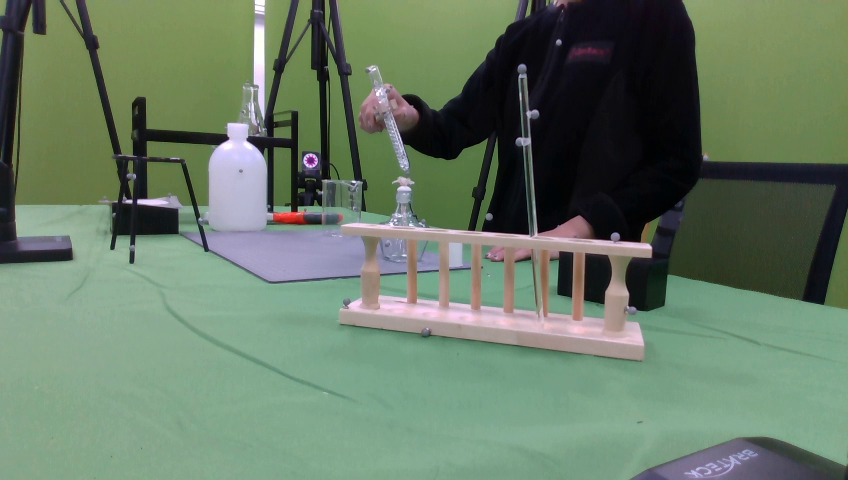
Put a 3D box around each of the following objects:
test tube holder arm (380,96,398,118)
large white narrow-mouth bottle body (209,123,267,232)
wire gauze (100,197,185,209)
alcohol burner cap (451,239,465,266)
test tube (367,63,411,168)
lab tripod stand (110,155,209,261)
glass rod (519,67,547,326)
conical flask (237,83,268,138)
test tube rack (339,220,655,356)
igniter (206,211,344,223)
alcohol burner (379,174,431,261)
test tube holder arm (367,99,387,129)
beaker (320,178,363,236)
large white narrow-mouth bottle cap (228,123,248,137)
[{"bbox_3d":[-0.054,-0.186,0.851,0.010,0.015,0.087,-18,6,-19],"label":"test tube holder arm"},{"bbox_3d":[-0.340,-0.115,1.109,0.102,0.194,0.102,2,8,0],"label":"large white narrow-mouth bottle body"},{"bbox_3d":[-0.469,-0.062,1.008,0.126,0.011,0.121,-2,8,-25],"label":"wire gauze"},{"bbox_3d":[0.040,0.010,0.815,0.034,0.048,0.034,4,7,0],"label":"alcohol burner cap"},{"bbox_3d":[-0.048,-0.171,0.828,0.017,0.150,0.017,-19,0,0],"label":"test tube"},{"bbox_3d":[-0.361,-0.046,0.806,0.148,0.131,0.148,2,5,0],"label":"lab tripod stand"},{"bbox_3d":[0.084,-0.029,0.459,0.008,0.199,0.008,-6,11,2],"label":"glass rod"},{"bbox_3d":[-0.402,-0.299,1.406,0.075,0.122,0.075,2,7,0],"label":"conical flask"},{"bbox_3d":[0.056,0.032,0.495,0.242,0.085,0.067,4,7,15],"label":"test tube rack"},{"bbox_3d":[-0.302,-0.048,1.249,0.278,0.025,0.057,-2,-2,-26],"label":"igniter"},{"bbox_3d":[-0.027,-0.031,0.838,0.078,0.119,0.078,0,6,0],"label":"alcohol burner"},{"bbox_3d":[-0.071,-0.185,0.893,0.013,0.015,0.178,-17,5,-11],"label":"test tube holder arm"},{"bbox_3d":[-0.145,-0.059,1.079,0.074,0.100,0.083,-4,10,-36],"label":"beaker"},{"bbox_3d":[-0.338,-0.199,1.097,0.038,0.024,0.037,2,8,0],"label":"large white narrow-mouth bottle cap"}]
